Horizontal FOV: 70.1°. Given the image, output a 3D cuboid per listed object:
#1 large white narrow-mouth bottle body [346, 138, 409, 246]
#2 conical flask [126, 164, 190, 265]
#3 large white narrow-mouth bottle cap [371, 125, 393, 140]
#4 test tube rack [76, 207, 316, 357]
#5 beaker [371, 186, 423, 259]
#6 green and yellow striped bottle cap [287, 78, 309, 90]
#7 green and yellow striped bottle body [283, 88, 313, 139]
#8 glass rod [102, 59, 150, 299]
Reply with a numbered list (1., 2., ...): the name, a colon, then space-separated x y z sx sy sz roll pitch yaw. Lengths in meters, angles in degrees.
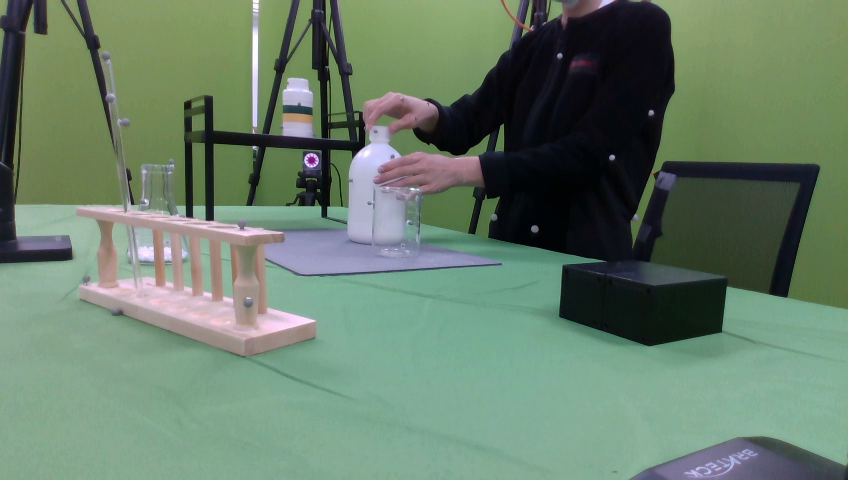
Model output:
1. large white narrow-mouth bottle body: -0.076 -0.091 1.010 0.102 0.194 0.102 4 8 0
2. conical flask: -0.332 -0.033 0.756 0.075 0.122 0.075 2 7 0
3. large white narrow-mouth bottle cap: -0.069 -0.177 0.996 0.038 0.024 0.037 4 8 0
4. test tube rack: -0.196 0.023 0.500 0.241 0.085 0.067 8 9 36
5. beaker: -0.038 -0.026 0.868 0.074 0.100 0.083 -1 8 -22
6. green and yellow striped bottle cap: -0.265 -0.326 1.268 0.045 0.020 0.045 4 6 0
7. green and yellow striped bottle body: -0.266 -0.275 1.275 0.063 0.119 0.063 3 7 0
8. glass rod: -0.243 -0.045 0.496 0.008 0.199 0.008 -4 12 1
